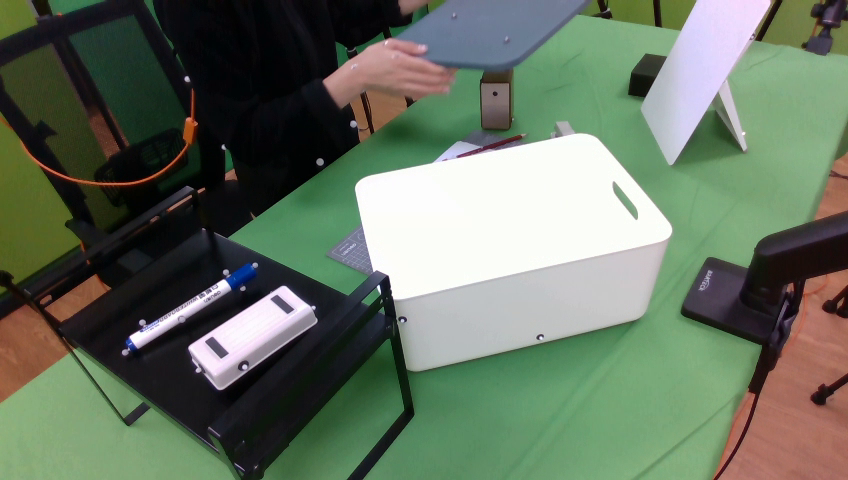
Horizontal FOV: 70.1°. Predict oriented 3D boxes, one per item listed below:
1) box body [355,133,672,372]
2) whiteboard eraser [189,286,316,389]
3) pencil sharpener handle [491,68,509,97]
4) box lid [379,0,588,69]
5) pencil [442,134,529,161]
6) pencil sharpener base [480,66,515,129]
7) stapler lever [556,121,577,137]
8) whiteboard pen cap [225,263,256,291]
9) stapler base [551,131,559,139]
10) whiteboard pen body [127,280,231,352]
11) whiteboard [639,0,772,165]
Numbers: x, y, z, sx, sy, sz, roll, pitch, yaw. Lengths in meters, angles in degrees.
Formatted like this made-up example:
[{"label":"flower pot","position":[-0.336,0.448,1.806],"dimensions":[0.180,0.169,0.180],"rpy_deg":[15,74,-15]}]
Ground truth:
[{"label":"box body","position":[0.108,0.013,0.834],"dimensions":[0.365,0.161,0.252],"rpy_deg":[-12,41,-6]},{"label":"whiteboard eraser","position":[-0.166,0.096,0.593],"dimensions":[0.113,0.042,0.055],"rpy_deg":[-36,47,-29]},{"label":"pencil sharpener handle","position":[0.156,-0.333,1.258],"dimensions":[0.036,0.068,0.030],"rpy_deg":[14,42,3]},{"label":"box lid","position":[0.122,-0.384,1.027],"dimensions":[0.261,0.015,0.372],"rpy_deg":[17,47,32]},{"label":"pencil","position":[0.123,-0.180,1.176],"dimensions":[0.195,0.012,0.012],"rpy_deg":[-20,42,-17]},{"label":"pencil sharpener base","position":[0.151,-0.290,1.228],"dimensions":[0.061,0.107,0.076],"rpy_deg":[3,41,13]},{"label":"stapler lever","position":[0.266,-0.198,1.128],"dimensions":[0.027,0.040,0.117],"rpy_deg":[0,38,3]},{"label":"whiteboard pen cap","position":[-0.204,0.041,0.668],"dimensions":[0.033,0.018,0.018],"rpy_deg":[-36,48,-22]},{"label":"stapler base","position":[0.268,-0.178,1.142],"dimensions":[0.041,0.024,0.130],"rpy_deg":[1,37,3]},{"label":"whiteboard pen body","position":[-0.248,0.072,0.645],"dimensions":[0.141,0.017,0.017],"rpy_deg":[-35,47,-23]},{"label":"whiteboard","position":[0.543,-0.298,1.076],"dimensions":[0.144,0.305,0.216],"rpy_deg":[12,40,-7]}]
